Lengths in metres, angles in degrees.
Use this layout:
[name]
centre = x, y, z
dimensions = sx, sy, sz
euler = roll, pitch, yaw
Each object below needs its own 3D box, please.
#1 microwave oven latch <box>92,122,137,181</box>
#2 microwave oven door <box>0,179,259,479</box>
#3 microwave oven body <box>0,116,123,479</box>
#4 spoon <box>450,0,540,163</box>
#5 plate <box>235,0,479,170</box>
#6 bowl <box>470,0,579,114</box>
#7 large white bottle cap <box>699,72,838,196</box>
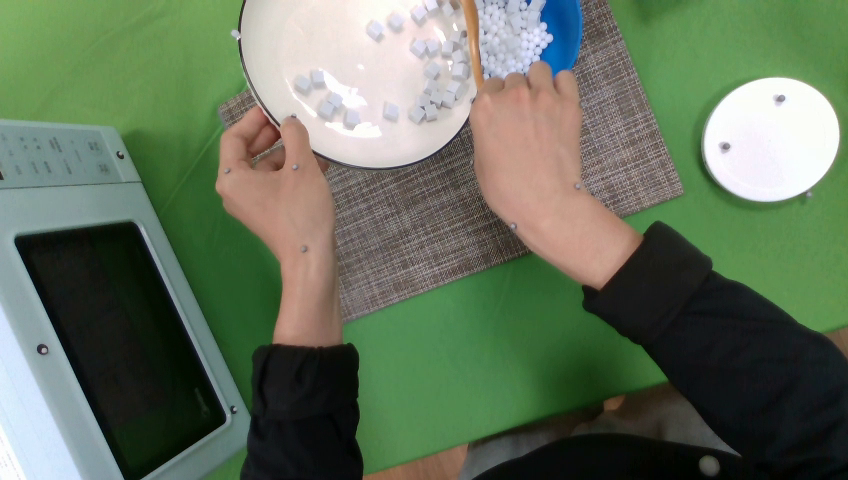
[microwave oven latch]
centre = -0.391, -0.107, 0.754
dimensions = 0.030, 0.029, 0.079
euler = -24, 92, 18
[microwave oven door]
centre = -0.331, 0.106, 0.662
dimensions = 0.039, 0.244, 0.355
euler = -25, 90, 19
[microwave oven body]
centre = -0.473, 0.125, 0.714
dimensions = 0.326, 0.260, 0.441
euler = -25, 91, 18
[spoon]
centre = 0.051, -0.146, 0.502
dimensions = 0.021, 0.042, 0.192
euler = -19, 76, -2
[plate]
centre = -0.054, -0.159, 0.524
dimensions = 0.210, 0.038, 0.208
euler = 3, 82, -20
[bowl]
centre = 0.077, -0.197, 0.589
dimensions = 0.151, 0.077, 0.151
euler = 3, 100, 17
[large white bottle cap]
centre = 0.320, -0.097, 0.566
dimensions = 0.114, 0.018, 0.115
euler = 2, 99, 16
